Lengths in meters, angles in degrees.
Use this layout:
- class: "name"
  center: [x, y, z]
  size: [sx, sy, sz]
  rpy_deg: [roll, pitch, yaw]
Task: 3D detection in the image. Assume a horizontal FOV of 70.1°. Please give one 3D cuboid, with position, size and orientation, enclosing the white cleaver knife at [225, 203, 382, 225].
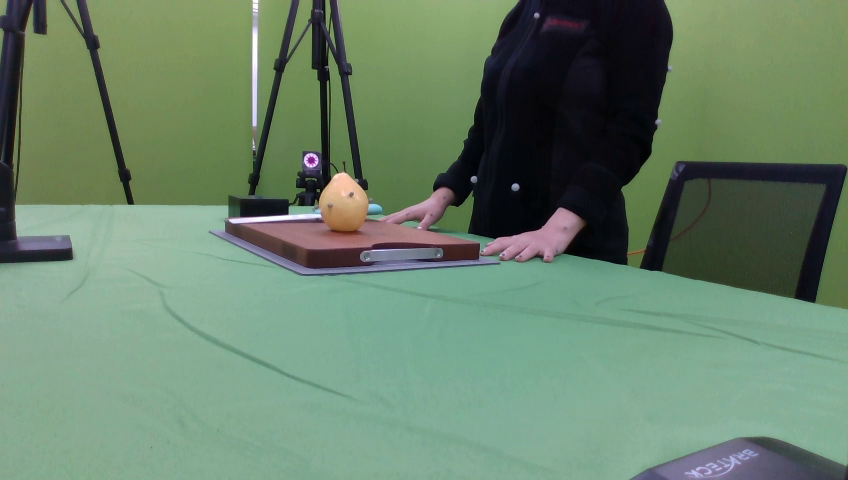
- class: "white cleaver knife"
  center: [-0.202, -0.040, 1.069]
  size: [0.288, 0.021, 0.065]
  rpy_deg: [-8, 17, -32]

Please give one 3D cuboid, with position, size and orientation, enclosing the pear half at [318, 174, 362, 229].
- class: "pear half"
  center: [-0.136, -0.062, 0.959]
  size: [0.071, 0.088, 0.031]
  rpy_deg: [-7, 11, -29]

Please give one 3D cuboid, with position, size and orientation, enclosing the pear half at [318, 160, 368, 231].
- class: "pear half"
  center: [-0.120, -0.067, 0.927]
  size: [0.077, 0.110, 0.055]
  rpy_deg: [-7, 11, -29]
